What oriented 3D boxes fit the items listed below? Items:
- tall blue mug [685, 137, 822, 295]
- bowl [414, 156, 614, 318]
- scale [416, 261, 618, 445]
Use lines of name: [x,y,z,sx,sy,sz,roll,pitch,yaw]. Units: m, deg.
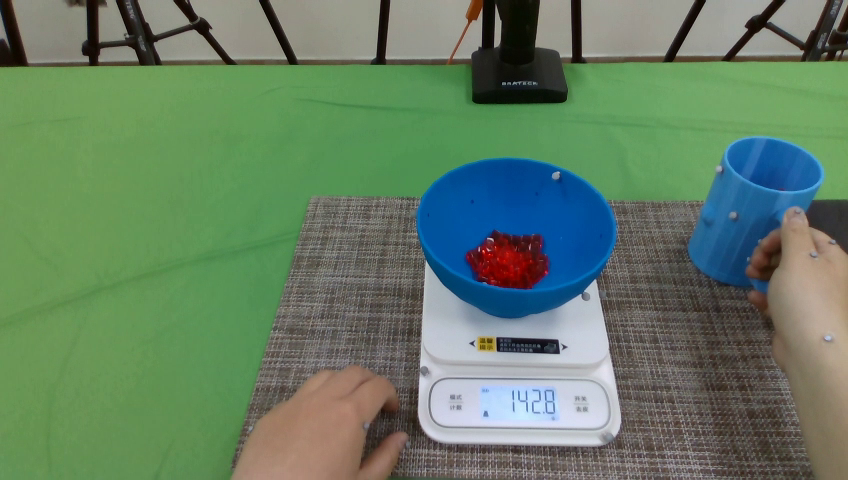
tall blue mug: [0.289,-0.014,0.519,0.078,0.109,0.106,-22,48,-20]
bowl: [0.067,0.009,0.482,0.151,0.077,0.150,0,45,1]
scale: [0.071,0.069,0.497,0.148,0.032,0.199,1,45,3]
